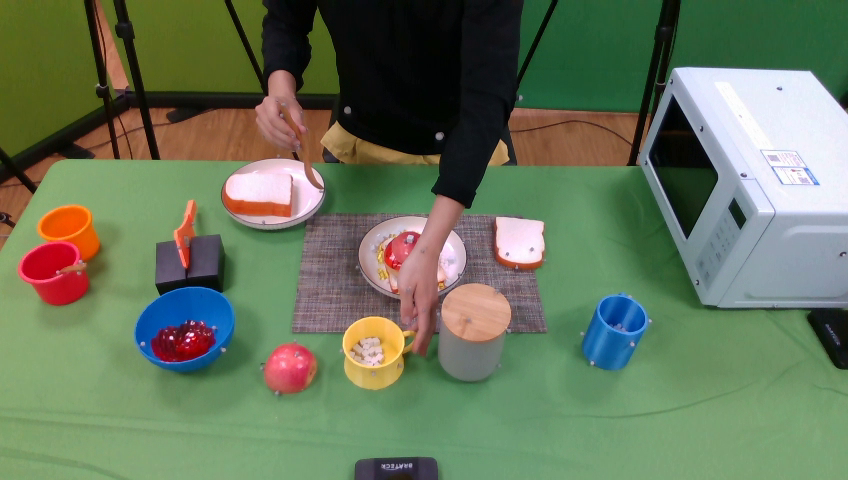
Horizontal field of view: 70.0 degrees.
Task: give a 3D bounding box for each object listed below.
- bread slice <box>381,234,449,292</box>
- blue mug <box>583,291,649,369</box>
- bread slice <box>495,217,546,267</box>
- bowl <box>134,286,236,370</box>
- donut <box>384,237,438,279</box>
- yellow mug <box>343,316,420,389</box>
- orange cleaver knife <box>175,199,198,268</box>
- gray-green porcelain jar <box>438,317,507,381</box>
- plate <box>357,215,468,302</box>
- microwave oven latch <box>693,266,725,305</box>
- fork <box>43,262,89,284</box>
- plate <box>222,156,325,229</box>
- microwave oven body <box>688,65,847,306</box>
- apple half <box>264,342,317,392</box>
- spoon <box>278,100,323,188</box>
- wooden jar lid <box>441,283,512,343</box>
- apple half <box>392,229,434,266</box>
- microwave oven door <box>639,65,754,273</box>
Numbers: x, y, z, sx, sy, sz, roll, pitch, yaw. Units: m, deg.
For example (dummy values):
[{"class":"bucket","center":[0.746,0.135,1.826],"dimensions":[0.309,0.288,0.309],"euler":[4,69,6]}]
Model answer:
[{"class":"bread slice","center":[-0.026,0.039,1.140],"dimensions":[0.107,0.018,0.133],"euler":[-12,49,-16]},{"class":"blue mug","center":[0.324,0.142,1.023],"dimensions":[0.082,0.106,0.116],"euler":[15,47,11]},{"class":"bread slice","center":[0.194,0.002,1.205],"dimensions":[0.105,0.019,0.131],"euler":[5,45,2]},{"class":"bowl","center":[-0.377,0.155,0.981],"dimensions":[0.151,0.077,0.150],"euler":[2,46,-2]},{"class":"donut","center":[-0.025,0.030,1.109],"dimensions":[0.099,0.048,0.098],"euler":[3,44,-3]},{"class":"yellow mug","center":[-0.067,0.177,0.990],"dimensions":[0.131,0.064,0.099],"euler":[-16,49,-19]},{"class":"orange cleaver knife","center":[-0.438,-0.017,1.138],"dimensions":[0.012,0.077,0.210],"euler":[-14,27,-7]},{"class":"gray-green porcelain jar","center":[0.076,0.158,0.977],"dimensions":[0.106,0.127,0.105],"euler":[2,47,-2]},{"class":"plate","center":[-0.022,0.037,1.141],"dimensions":[0.208,0.039,0.206],"euler":[2,46,-2]},{"class":"microwave oven latch","center":[0.523,0.082,1.115],"dimensions":[0.030,0.029,0.078],"euler":[3,46,0]},{"class":"fork","center":[-0.599,0.053,1.013],"dimensions":[0.207,0.019,0.028],"euler":[-14,30,45]},{"class":"plate","center":[-0.308,-0.095,1.251],"dimensions":[0.209,0.038,0.208],"euler":[3,46,-3]},{"class":"microwave oven body","center":[0.669,-0.111,1.176],"dimensions":[0.326,0.261,0.439],"euler":[0,46,-3]},{"class":"apple half","center":[-0.214,0.198,0.970],"dimensions":[0.074,0.053,0.080],"euler":[19,48,10]},{"class":"spoon","center":[-0.210,-0.161,1.037],"dimensions":[0.021,0.195,0.041],"euler":[-31,48,-16]},{"class":"wooden jar lid","center":[0.080,0.114,0.931],"dimensions":[0.108,0.021,0.107],"euler":[1,49,0]},{"class":"apple half","center":[-0.020,0.005,1.083],"dimensions":[0.081,0.033,0.081],"euler":[6,47,-7]},{"class":"microwave oven door","center":[0.522,-0.147,1.193],"dimensions":[0.039,0.245,0.353],"euler":[0,47,-3]}]
